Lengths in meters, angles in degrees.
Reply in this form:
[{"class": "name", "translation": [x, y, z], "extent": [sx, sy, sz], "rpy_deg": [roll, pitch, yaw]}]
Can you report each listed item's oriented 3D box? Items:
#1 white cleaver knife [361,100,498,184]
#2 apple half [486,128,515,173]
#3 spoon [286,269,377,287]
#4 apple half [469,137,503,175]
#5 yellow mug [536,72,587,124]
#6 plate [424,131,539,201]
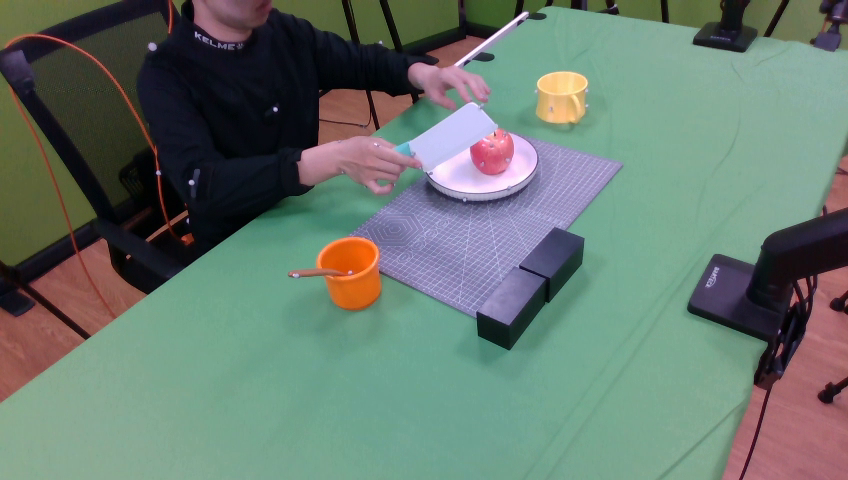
[{"class": "white cleaver knife", "translation": [-0.003, -0.139, 0.956], "extent": [0.285, 0.066, 0.021], "rpy_deg": [-22, 27, 45]}, {"class": "apple half", "translation": [0.132, -0.164, 1.084], "extent": [0.053, 0.075, 0.080], "rpy_deg": [-28, 41, -28]}, {"class": "spoon", "translation": [-0.125, 0.049, 0.831], "extent": [0.041, 0.195, 0.021], "rpy_deg": [22, 92, 28]}, {"class": "apple half", "translation": [0.102, -0.146, 1.067], "extent": [0.033, 0.081, 0.080], "rpy_deg": [-29, 44, -29]}, {"class": "yellow mug", "translation": [0.284, -0.281, 1.222], "extent": [0.100, 0.064, 0.130], "rpy_deg": [-16, 42, -9]}, {"class": "plate", "translation": [0.103, -0.132, 1.092], "extent": [0.209, 0.038, 0.208], "rpy_deg": [-4, 40, 4]}]
